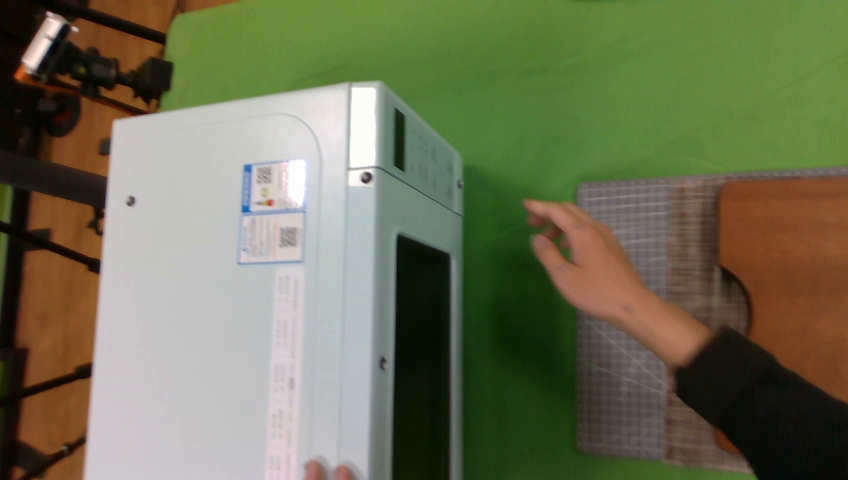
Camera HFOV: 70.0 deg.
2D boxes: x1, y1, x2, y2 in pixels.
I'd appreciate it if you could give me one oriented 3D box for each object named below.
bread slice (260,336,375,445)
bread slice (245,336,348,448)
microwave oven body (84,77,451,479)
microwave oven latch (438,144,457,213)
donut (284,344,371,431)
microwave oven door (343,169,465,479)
[{"bbox_3d":[-0.129,0.170,0.700,0.131,0.019,0.105,12,92,15],"label":"bread slice"},{"bbox_3d":[-0.134,0.161,0.623,0.134,0.018,0.106,-16,79,32],"label":"bread slice"},{"bbox_3d":[-0.149,0.099,0.653,0.325,0.262,0.440,-3,82,20],"label":"microwave oven body"},{"bbox_3d":[0.023,-0.072,0.715,0.030,0.030,0.079,-3,82,20],"label":"microwave oven latch"},{"bbox_3d":[-0.107,0.161,0.664,0.099,0.048,0.099,2,100,10],"label":"donut"},{"bbox_3d":[-0.014,0.130,0.592,0.039,0.245,0.354,-4,81,21],"label":"microwave oven door"}]
